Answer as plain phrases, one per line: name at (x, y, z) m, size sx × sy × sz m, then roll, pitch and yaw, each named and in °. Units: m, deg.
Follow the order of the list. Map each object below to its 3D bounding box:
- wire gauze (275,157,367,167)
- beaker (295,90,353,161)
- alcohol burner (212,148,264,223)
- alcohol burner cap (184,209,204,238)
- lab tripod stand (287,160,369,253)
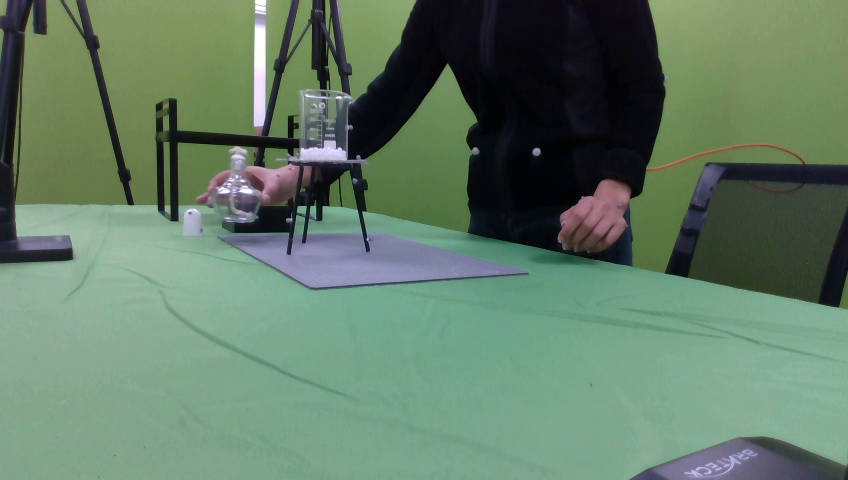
wire gauze at (-0.148, -0.117, 0.895) m, size 0.121 × 0.011 × 0.125 m, roll 3°, pitch 5°, yaw -3°
beaker at (-0.146, -0.164, 0.884) m, size 0.084 × 0.100 × 0.074 m, roll 1°, pitch 7°, yaw -6°
alcohol burner at (-0.291, -0.086, 0.952) m, size 0.078 × 0.119 × 0.078 m, roll 4°, pitch 2°, yaw 0°
alcohol burner cap at (-0.390, -0.029, 1.026) m, size 0.034 × 0.048 × 0.034 m, roll 2°, pitch 9°, yaw 0°
lab tripod stand at (-0.157, -0.053, 0.902) m, size 0.148 × 0.131 × 0.148 m, roll 0°, pitch 7°, yaw 0°
